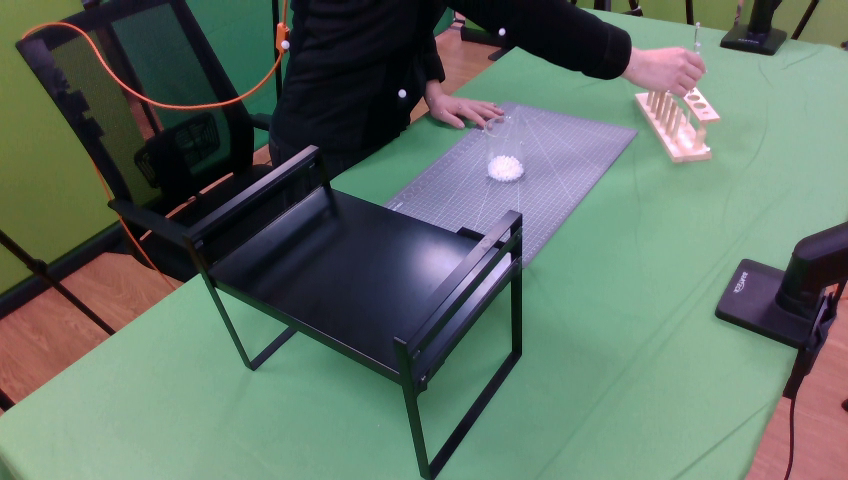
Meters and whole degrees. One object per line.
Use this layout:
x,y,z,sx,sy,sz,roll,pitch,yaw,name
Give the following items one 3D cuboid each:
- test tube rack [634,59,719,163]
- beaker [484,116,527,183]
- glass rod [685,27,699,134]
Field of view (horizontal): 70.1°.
0.471,-0.250,1.148,0.067,0.085,0.241,-6,40,3,test tube rack
0.147,-0.161,1.079,0.073,0.101,0.084,13,44,22,beaker
0.478,-0.279,1.079,0.008,0.200,0.008,-7,35,6,glass rod
